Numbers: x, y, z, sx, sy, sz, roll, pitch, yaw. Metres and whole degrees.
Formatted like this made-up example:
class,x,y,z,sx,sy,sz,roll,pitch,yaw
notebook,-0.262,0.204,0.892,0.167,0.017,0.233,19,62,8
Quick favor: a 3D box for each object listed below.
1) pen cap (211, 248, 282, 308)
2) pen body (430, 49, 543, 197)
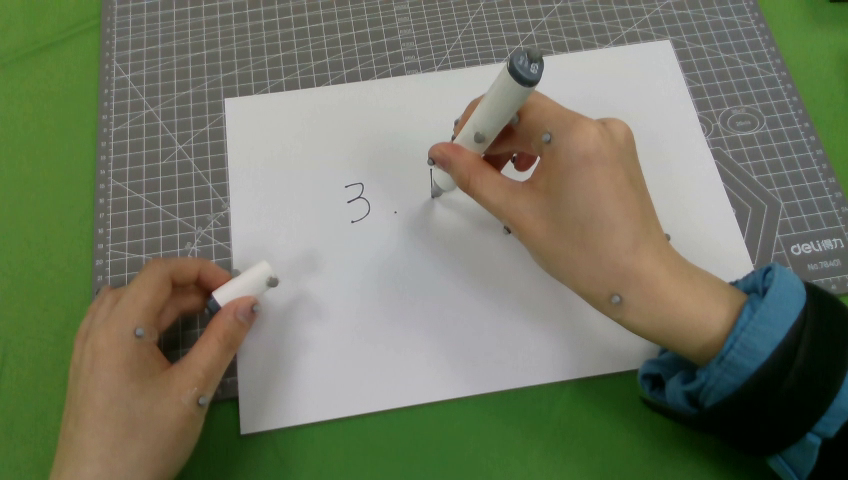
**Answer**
class,x,y,z,sx,sy,sz,roll,pitch,yaw
pen cap,-0.094,0.021,0.321,0.038,0.017,0.017,-33,71,9
pen body,0.023,-0.047,0.300,0.017,0.144,0.017,4,73,-14
